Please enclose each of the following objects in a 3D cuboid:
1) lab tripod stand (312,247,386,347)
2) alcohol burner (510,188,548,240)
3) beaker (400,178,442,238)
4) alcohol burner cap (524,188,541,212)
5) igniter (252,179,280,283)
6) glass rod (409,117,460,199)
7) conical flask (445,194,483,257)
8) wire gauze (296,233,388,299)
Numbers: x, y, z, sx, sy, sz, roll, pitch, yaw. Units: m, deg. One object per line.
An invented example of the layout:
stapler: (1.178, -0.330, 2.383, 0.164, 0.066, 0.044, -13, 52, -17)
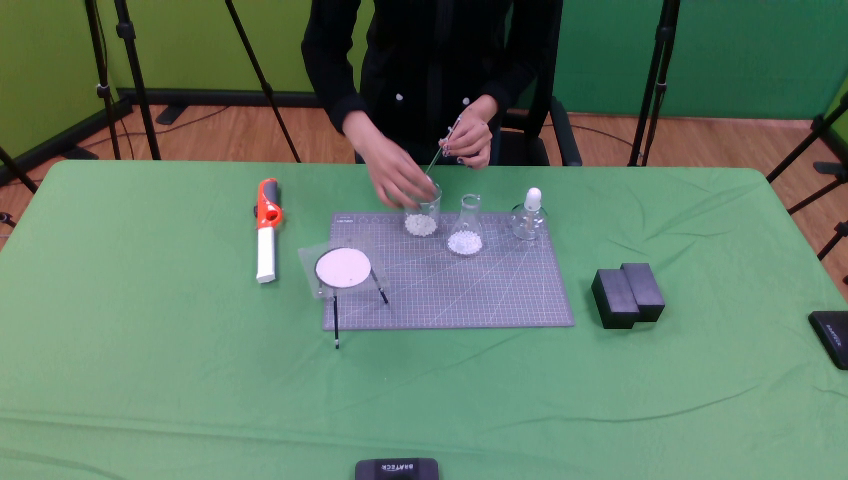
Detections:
lab tripod stand: (-0.134, 0.085, 1.028, 0.148, 0.132, 0.147, 2, 45, -1)
alcohol burner: (0.211, -0.057, 1.204, 0.078, 0.120, 0.077, 1, 47, -1)
beaker: (-0.008, -0.059, 1.200, 0.084, 0.101, 0.073, -15, 48, -17)
alcohol burner cap: (0.212, -0.081, 1.177, 0.034, 0.048, 0.033, -2, 54, 2)
igniter: (-0.312, -0.027, 1.197, 0.057, 0.025, 0.274, -13, 47, -2)
glass rod: (0.017, -0.149, 1.126, 0.008, 0.200, 0.008, 21, 37, -17)
conical flask: (0.082, -0.031, 1.163, 0.075, 0.122, 0.075, 2, 46, -2)
wire gauze: (-0.133, 0.041, 0.977, 0.125, 0.011, 0.120, -12, 47, -16)
